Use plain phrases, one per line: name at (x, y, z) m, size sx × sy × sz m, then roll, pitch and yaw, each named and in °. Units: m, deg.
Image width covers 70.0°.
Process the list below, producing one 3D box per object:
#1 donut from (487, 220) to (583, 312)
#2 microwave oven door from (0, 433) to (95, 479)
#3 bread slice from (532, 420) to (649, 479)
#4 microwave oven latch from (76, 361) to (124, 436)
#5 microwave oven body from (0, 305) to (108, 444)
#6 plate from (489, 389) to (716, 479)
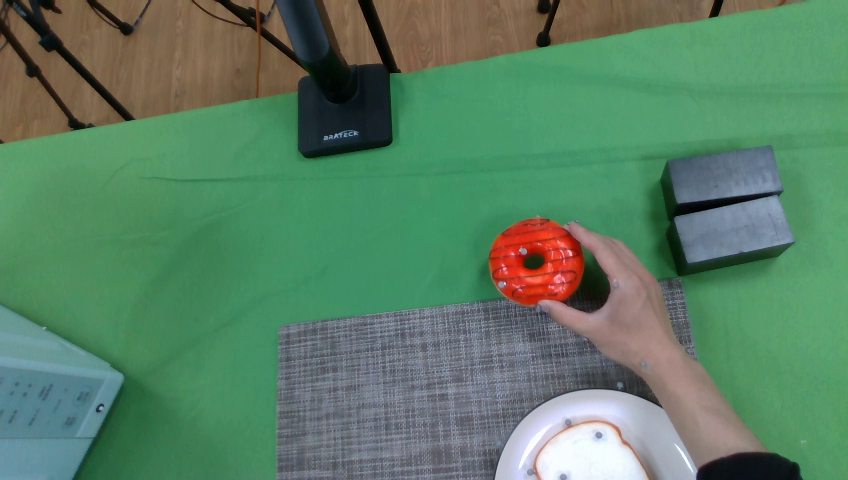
donut at (0.114, 0.026, 0.624) m, size 0.099 × 0.048 × 0.098 m, roll -6°, pitch 68°, yaw 16°
microwave oven door at (-0.490, 0.347, 0.560) m, size 0.039 × 0.246 × 0.355 m, roll 20°, pitch 78°, yaw 19°
bread slice at (0.163, 0.241, 0.572) m, size 0.105 × 0.019 × 0.130 m, roll -27°, pitch 70°, yaw 2°
microwave oven latch at (-0.378, 0.182, 0.696) m, size 0.030 × 0.030 × 0.079 m, roll 23°, pitch 80°, yaw 18°
microwave oven body at (-0.602, 0.263, 0.617) m, size 0.324 × 0.262 × 0.440 m, roll 21°, pitch 79°, yaw 17°
plate at (0.165, 0.247, 0.568) m, size 0.207 × 0.039 × 0.206 m, roll -4°, pitch 72°, yaw 12°
